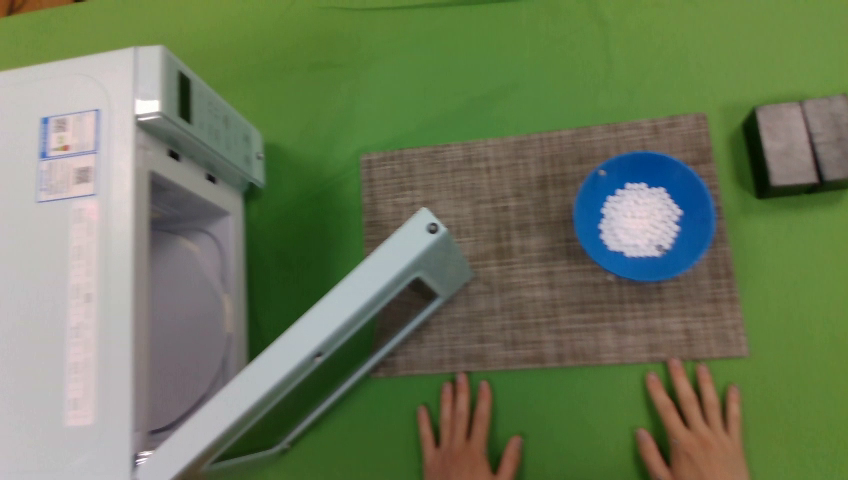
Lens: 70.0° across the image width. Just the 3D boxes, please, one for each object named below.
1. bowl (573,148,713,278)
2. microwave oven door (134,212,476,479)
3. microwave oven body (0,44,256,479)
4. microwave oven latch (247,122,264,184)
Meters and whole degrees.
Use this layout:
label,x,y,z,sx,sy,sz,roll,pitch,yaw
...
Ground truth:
label,x,y,z,sx,sy,sz,roll,pitch,yaw
bowl,0.250,-0.024,0.711,0.151,0.077,0.150,-2,78,10
microwave oven door,-0.098,0.123,0.643,0.356,0.245,0.039,-42,73,-1
microwave oven body,-0.384,0.051,0.713,0.326,0.261,0.439,-7,78,8
microwave oven latch,-0.236,-0.118,0.822,0.030,0.029,0.079,-7,78,8
